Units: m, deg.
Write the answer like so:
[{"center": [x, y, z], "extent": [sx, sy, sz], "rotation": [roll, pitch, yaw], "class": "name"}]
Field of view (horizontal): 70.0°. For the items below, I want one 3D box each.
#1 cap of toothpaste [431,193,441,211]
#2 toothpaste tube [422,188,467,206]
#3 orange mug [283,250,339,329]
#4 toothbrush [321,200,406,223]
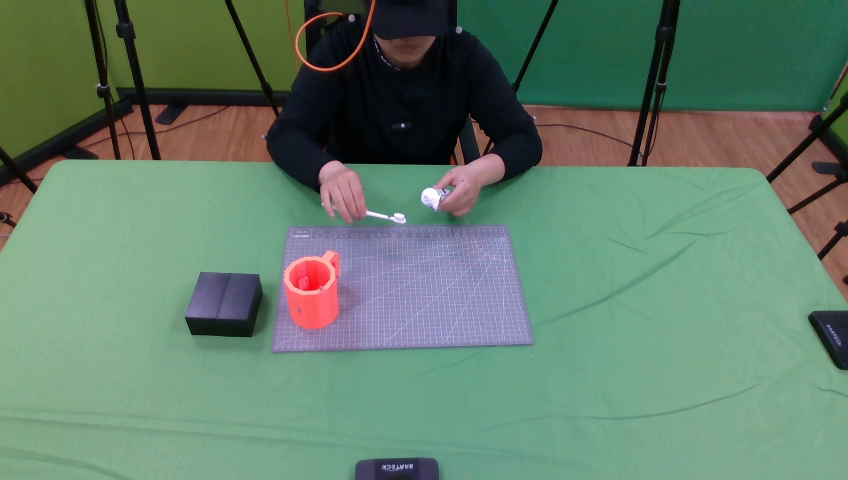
[{"center": [0.022, -0.071, 1.106], "extent": [0.011, 0.037, 0.037], "rotation": [19, 47, 0], "class": "cap of toothpaste"}, {"center": [0.036, -0.087, 1.194], "extent": [0.055, 0.034, 0.165], "rotation": [0, 6, 21], "class": "toothpaste tube"}, {"center": [-0.186, 0.079, 1.052], "extent": [0.083, 0.101, 0.126], "rotation": [20, 52, 15], "class": "orange mug"}, {"center": [-0.117, -0.056, 1.147], "extent": [0.181, 0.017, 0.014], "rotation": [12, 55, 21], "class": "toothbrush"}]
